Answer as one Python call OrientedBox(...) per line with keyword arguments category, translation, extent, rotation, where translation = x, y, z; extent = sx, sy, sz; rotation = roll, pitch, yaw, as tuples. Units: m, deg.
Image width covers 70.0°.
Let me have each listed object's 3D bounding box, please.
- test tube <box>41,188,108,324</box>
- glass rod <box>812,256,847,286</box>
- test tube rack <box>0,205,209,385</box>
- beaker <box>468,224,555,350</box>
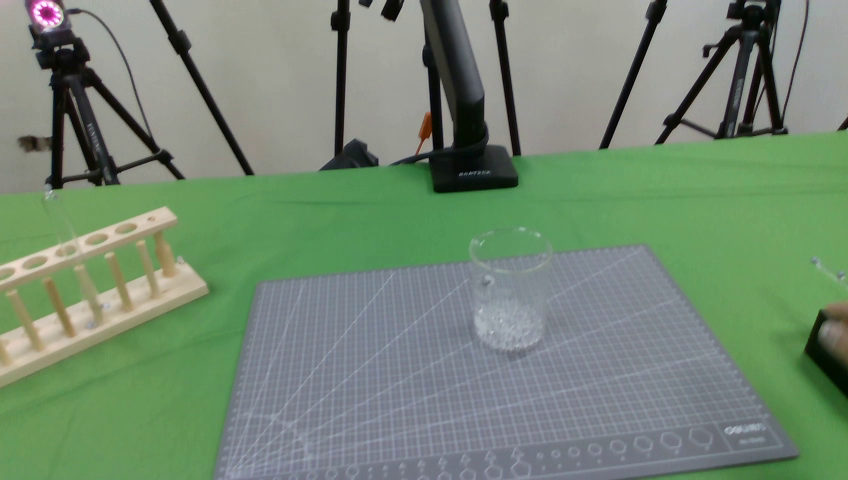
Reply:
OrientedBox(category="test tube", translation=(-0.330, 0.018, 0.574), extent=(0.017, 0.151, 0.017), rotation=(-1, 33, 1))
OrientedBox(category="glass rod", translation=(0.399, 0.068, 0.500), extent=(0.008, 0.008, 0.197), rotation=(-11, 34, -11))
OrientedBox(category="test tube rack", translation=(-0.353, 0.055, 0.604), extent=(0.242, 0.086, 0.066), rotation=(-27, 41, -31))
OrientedBox(category="beaker", translation=(0.077, 0.045, 0.566), extent=(0.074, 0.101, 0.083), rotation=(-30, 42, -34))
